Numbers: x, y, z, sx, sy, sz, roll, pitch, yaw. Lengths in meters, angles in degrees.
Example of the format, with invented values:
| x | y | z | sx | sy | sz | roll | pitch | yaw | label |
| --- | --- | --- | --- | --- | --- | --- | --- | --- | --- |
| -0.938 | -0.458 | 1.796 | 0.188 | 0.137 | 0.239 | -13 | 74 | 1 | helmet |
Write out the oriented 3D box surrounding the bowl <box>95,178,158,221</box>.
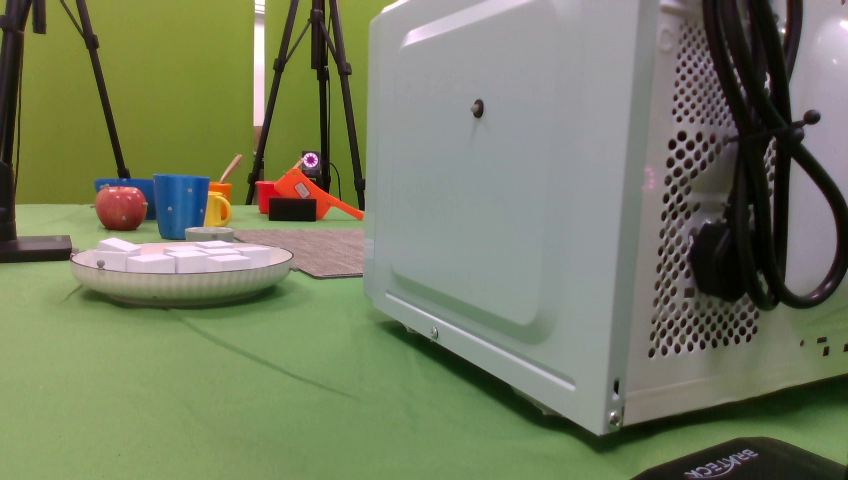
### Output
| x | y | z | sx | sy | sz | roll | pitch | yaw | label |
| --- | --- | --- | --- | --- | --- | --- | --- | --- | --- |
| -0.576 | -0.081 | 1.217 | 0.151 | 0.077 | 0.151 | 3 | 8 | 0 | bowl |

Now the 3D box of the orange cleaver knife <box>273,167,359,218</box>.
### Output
| x | y | z | sx | sy | sz | roll | pitch | yaw | label |
| --- | --- | --- | --- | --- | --- | --- | --- | --- | --- |
| -0.238 | -0.091 | 1.381 | 0.212 | 0.077 | 0.012 | 31 | 0 | -19 | orange cleaver knife |

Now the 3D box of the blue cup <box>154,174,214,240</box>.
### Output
| x | y | z | sx | sy | sz | roll | pitch | yaw | label |
| --- | --- | --- | --- | --- | --- | --- | --- | --- | --- |
| -0.391 | -0.053 | 0.978 | 0.093 | 0.100 | 0.092 | 4 | 6 | 0 | blue cup |

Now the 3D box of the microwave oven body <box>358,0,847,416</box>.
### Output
| x | y | z | sx | sy | sz | roll | pitch | yaw | label |
| --- | --- | --- | --- | --- | --- | --- | --- | --- | --- |
| 0.211 | -0.047 | 0.474 | 0.444 | 0.260 | 0.324 | -1 | 7 | -28 | microwave oven body |

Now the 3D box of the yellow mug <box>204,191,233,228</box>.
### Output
| x | y | z | sx | sy | sz | roll | pitch | yaw | label |
| --- | --- | --- | --- | --- | --- | --- | --- | --- | --- |
| -0.415 | -0.057 | 1.132 | 0.130 | 0.064 | 0.100 | 6 | 8 | 16 | yellow mug |

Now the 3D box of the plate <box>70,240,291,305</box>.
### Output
| x | y | z | sx | sy | sz | roll | pitch | yaw | label |
| --- | --- | --- | --- | --- | --- | --- | --- | --- | --- |
| -0.242 | 0.031 | 0.618 | 0.208 | 0.039 | 0.207 | 2 | 8 | 0 | plate |

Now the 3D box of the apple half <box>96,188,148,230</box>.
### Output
| x | y | z | sx | sy | sz | roll | pitch | yaw | label |
| --- | --- | --- | --- | --- | --- | --- | --- | --- | --- |
| -0.517 | -0.052 | 1.036 | 0.081 | 0.074 | 0.053 | 2 | 10 | -26 | apple half |

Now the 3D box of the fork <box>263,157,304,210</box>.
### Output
| x | y | z | sx | sy | sz | roll | pitch | yaw | label |
| --- | --- | --- | --- | --- | --- | --- | --- | --- | --- |
| -0.345 | -0.143 | 1.505 | 0.028 | 0.019 | 0.207 | -3 | 46 | 28 | fork |

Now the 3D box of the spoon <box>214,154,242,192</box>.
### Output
| x | y | z | sx | sy | sz | roll | pitch | yaw | label |
| --- | --- | --- | --- | --- | --- | --- | --- | --- | --- |
| -0.439 | -0.124 | 1.318 | 0.041 | 0.193 | 0.022 | 6 | -36 | 16 | spoon |

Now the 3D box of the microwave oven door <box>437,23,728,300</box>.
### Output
| x | y | z | sx | sy | sz | roll | pitch | yaw | label |
| --- | --- | --- | --- | --- | --- | --- | --- | --- | --- |
| 0.181 | -0.072 | 0.621 | 0.358 | 0.243 | 0.039 | -2 | 8 | -29 | microwave oven door |

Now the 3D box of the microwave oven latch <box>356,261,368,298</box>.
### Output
| x | y | z | sx | sy | sz | roll | pitch | yaw | label |
| --- | --- | --- | --- | --- | --- | --- | --- | --- | --- |
| -0.019 | 0.033 | 0.530 | 0.079 | 0.029 | 0.030 | -1 | 7 | -27 | microwave oven latch |

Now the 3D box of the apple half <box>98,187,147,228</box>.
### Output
| x | y | z | sx | sy | sz | roll | pitch | yaw | label |
| --- | --- | --- | --- | --- | --- | --- | --- | --- | --- |
| -0.534 | -0.059 | 1.071 | 0.082 | 0.081 | 0.032 | -1 | 11 | -25 | apple half |

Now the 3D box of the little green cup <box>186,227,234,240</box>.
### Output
| x | y | z | sx | sy | sz | roll | pitch | yaw | label |
| --- | --- | --- | --- | --- | --- | --- | --- | --- | --- |
| -0.285 | 0.005 | 0.805 | 0.061 | 0.038 | 0.061 | 2 | 8 | 0 | little green cup |

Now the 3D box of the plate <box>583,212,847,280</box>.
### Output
| x | y | z | sx | sy | sz | roll | pitch | yaw | label |
| --- | --- | --- | --- | --- | --- | --- | --- | --- | --- |
| 0.239 | 0.002 | 0.510 | 0.209 | 0.038 | 0.209 | 2 | 7 | 0 | plate |
